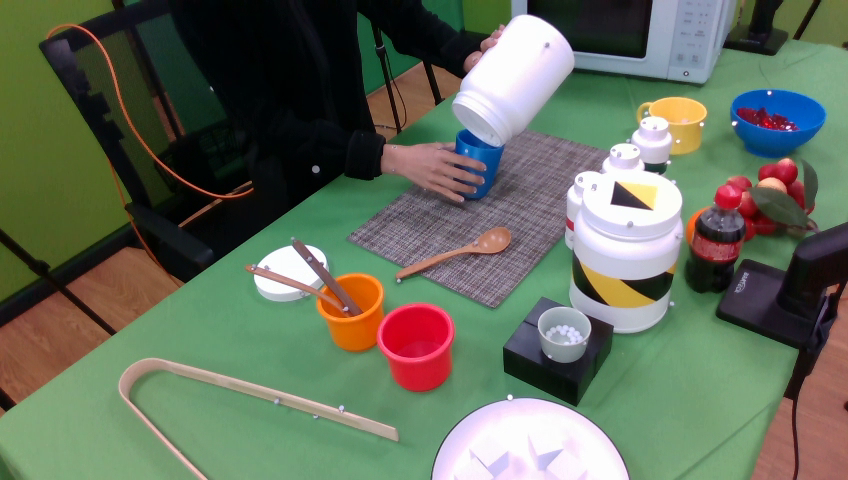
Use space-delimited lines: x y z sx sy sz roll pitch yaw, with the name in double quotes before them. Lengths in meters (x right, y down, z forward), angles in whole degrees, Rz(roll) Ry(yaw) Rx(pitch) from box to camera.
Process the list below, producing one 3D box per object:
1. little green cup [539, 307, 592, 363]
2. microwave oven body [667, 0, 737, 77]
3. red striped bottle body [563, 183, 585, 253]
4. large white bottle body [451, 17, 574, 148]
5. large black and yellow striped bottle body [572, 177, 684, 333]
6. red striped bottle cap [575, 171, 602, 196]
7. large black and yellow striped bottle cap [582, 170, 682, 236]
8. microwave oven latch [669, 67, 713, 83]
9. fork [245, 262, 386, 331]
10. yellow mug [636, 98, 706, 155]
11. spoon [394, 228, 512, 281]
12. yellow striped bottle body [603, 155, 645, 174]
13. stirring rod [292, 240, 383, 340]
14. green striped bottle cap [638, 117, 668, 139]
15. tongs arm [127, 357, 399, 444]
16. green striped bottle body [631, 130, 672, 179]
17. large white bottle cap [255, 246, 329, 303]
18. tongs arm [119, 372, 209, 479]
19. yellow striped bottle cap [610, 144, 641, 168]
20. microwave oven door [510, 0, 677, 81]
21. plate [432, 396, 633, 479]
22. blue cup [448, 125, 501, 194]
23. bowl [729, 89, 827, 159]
"little green cup" 0.168 0.115 0.721 0.061 0.039 0.061 -4 42 4
"microwave oven body" 0.462 -0.552 1.368 0.439 0.261 0.326 14 45 26
"red striped bottle body" 0.247 -0.041 0.910 0.063 0.120 0.062 -1 38 1
"large white bottle body" 0.142 -0.255 0.995 0.129 0.132 0.184 34 83 39
"large black and yellow striped bottle body" 0.262 0.017 0.788 0.131 0.185 0.130 -5 40 4
"red striped bottle cap" 0.242 -0.081 0.876 0.044 0.018 0.044 -5 44 5
"large black and yellow striped bottle cap" 0.252 -0.048 0.735 0.115 0.019 0.114 -3 40 3
"microwave oven latch" 0.556 -0.349 1.261 0.078 0.029 0.030 16 46 27
"fork" -0.141 0.076 0.807 0.209 0.018 0.028 29 51 -24
"yellow mug" 0.453 -0.217 1.128 0.100 0.064 0.129 -34 46 -27
"spoon" 0.045 0.024 0.935 0.194 0.022 0.041 -18 66 -11
"yellow striped bottle body" 0.313 -0.089 0.956 0.063 0.121 0.062 -4 39 4
"stirring rod" -0.118 0.068 0.825 0.176 0.006 0.014 49 59 -3
"green striped bottle cap" 0.369 -0.180 0.974 0.044 0.020 0.044 -4 41 4
"tongs arm" -0.213 0.205 0.755 0.382 0.026 0.051 12 46 23
"green striped bottle body" 0.375 -0.140 1.007 0.063 0.120 0.063 -5 41 5
"large white bottle cap" -0.208 0.052 0.952 0.115 0.018 0.114 -4 41 4
"tongs arm" -0.258 0.257 0.700 0.384 0.028 0.028 24 55 34
"yellow striped bottle cap" 0.307 -0.128 0.923 0.044 0.019 0.044 -6 39 5
"microwave oven door" 0.354 -0.478 1.290 0.353 0.245 0.039 15 45 25
"plate" 0.112 0.261 0.634 0.209 0.038 0.208 -5 40 4
"blue cup" 0.084 -0.136 1.043 0.093 0.100 0.092 5 37 -4
"bowl" 0.615 -0.197 1.069 0.151 0.077 0.150 -5 40 5
